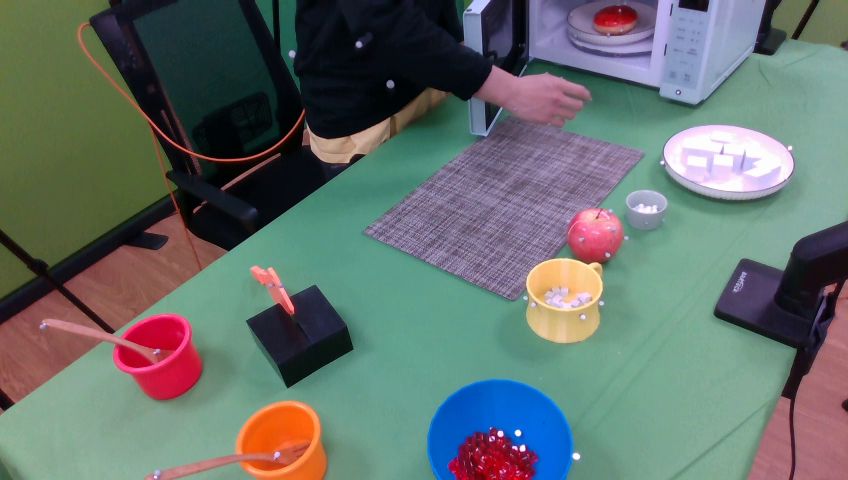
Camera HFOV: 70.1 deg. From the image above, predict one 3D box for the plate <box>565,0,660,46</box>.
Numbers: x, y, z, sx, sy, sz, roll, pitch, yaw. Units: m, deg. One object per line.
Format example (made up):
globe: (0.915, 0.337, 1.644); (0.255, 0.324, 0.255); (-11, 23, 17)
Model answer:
plate: (0.427, -0.489, 1.376); (0.209, 0.038, 0.208); (-5, 40, 4)

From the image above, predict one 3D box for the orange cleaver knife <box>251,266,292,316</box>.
orange cleaver knife: (-0.221, 0.071, 0.873); (0.012, 0.077, 0.210); (-25, 11, -21)

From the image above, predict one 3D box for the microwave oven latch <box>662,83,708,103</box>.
microwave oven latch: (0.518, -0.296, 1.204); (0.078, 0.029, 0.030); (28, 52, 36)

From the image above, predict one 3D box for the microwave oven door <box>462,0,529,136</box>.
microwave oven door: (0.155, -0.410, 1.236); (0.039, 0.245, 0.355); (10, 43, 19)

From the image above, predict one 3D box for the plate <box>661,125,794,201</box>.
plate: (0.513, -0.128, 1.035); (0.207, 0.039, 0.206); (-4, 40, 4)

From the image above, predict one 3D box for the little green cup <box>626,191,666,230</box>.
little green cup: (0.352, -0.046, 0.963); (0.061, 0.039, 0.061); (-4, 40, 4)

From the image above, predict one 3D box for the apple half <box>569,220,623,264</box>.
apple half: (0.251, 0.010, 0.884); (0.081, 0.081, 0.032); (3, 37, 12)

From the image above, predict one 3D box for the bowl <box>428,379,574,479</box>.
bowl: (0.082, 0.233, 0.644); (0.151, 0.077, 0.150); (-4, 39, 4)

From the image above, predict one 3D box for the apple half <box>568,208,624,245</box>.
apple half: (0.259, -0.014, 0.914); (0.080, 0.075, 0.053); (0, 36, 15)

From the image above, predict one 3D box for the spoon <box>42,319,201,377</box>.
spoon: (-0.385, 0.135, 0.779); (0.195, 0.021, 0.041); (29, 37, -27)

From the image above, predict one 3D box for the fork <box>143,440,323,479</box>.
fork: (-0.190, 0.231, 0.631); (0.028, 0.018, 0.209); (38, 14, 37)

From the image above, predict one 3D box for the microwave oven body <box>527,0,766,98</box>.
microwave oven body: (0.472, -0.513, 1.317); (0.438, 0.261, 0.327); (25, 51, 34)

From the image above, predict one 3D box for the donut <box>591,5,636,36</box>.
donut: (0.426, -0.497, 1.365); (0.099, 0.048, 0.098); (-2, 42, 3)

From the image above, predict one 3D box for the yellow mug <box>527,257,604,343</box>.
yellow mug: (0.201, 0.072, 0.825); (0.131, 0.064, 0.099); (-32, 46, -27)
